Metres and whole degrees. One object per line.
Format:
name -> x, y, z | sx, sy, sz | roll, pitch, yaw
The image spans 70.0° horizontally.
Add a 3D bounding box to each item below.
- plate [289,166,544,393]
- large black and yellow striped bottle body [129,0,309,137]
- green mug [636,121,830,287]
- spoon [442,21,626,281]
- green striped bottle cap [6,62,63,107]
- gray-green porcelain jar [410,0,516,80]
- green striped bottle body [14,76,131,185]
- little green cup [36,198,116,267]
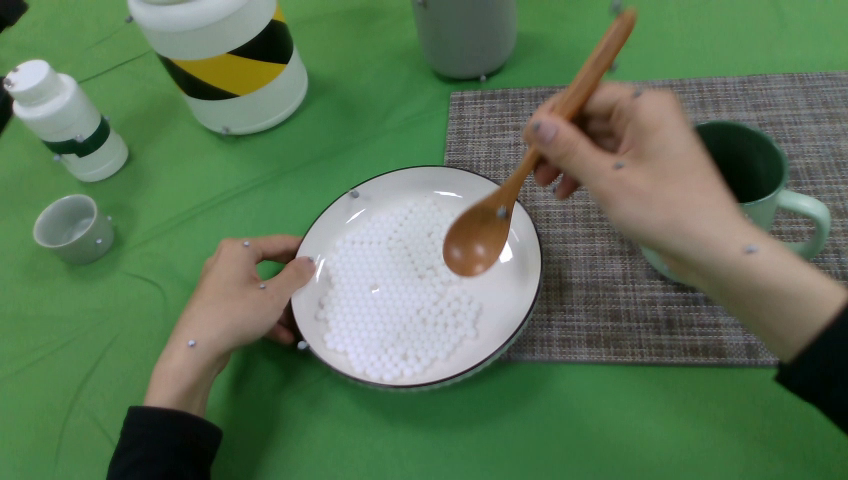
plate -> -0.005, 0.029, 0.498 | 0.209, 0.038, 0.207 | -6, 55, 9
large black and yellow striped bottle body -> -0.204, -0.209, 0.605 | 0.130, 0.186, 0.129 | -5, 56, 7
green mug -> 0.227, -0.019, 0.448 | 0.124, 0.106, 0.092 | 19, 61, 21
spoon -> 0.069, -0.050, 0.390 | 0.041, 0.194, 0.021 | 37, 29, 10
green striped bottle cap -> -0.364, -0.145, 0.566 | 0.044, 0.020, 0.044 | -3, 58, 5
gray-green porcelain jar -> 0.041, -0.238, 0.618 | 0.106, 0.128, 0.105 | -4, 56, 7
green striped bottle body -> -0.356, -0.116, 0.608 | 0.063, 0.120, 0.062 | -5, 55, 7
little green cup -> -0.330, -0.006, 0.579 | 0.061, 0.039, 0.061 | -5, 54, 7
